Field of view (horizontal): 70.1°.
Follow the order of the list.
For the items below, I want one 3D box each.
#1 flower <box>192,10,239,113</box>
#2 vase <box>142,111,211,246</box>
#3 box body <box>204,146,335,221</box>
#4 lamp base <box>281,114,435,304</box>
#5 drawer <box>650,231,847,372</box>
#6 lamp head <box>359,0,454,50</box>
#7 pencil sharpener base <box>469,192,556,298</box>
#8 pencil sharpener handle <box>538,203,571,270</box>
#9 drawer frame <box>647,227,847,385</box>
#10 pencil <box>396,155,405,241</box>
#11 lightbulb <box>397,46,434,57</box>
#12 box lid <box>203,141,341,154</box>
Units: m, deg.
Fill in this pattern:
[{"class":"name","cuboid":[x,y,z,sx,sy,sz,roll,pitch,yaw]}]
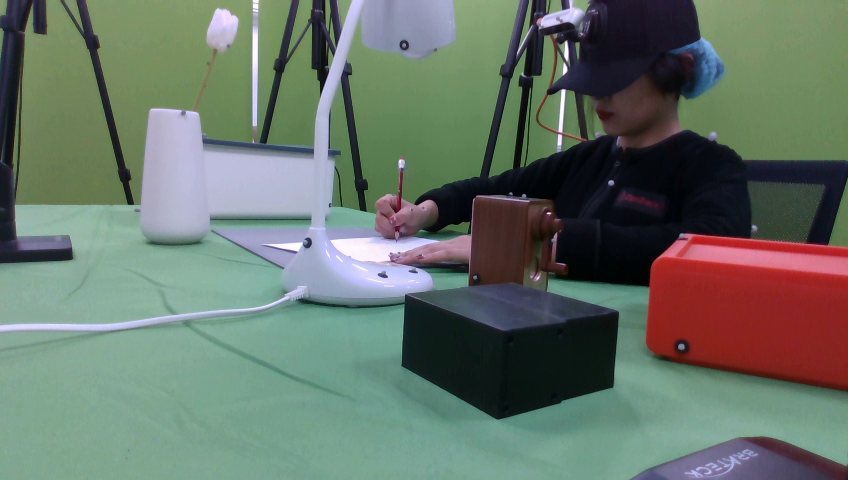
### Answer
[{"class":"flower","cuboid":[-0.354,-0.174,0.915,0.038,0.361,0.044,18,-3,12]},{"class":"vase","cuboid":[-0.378,-0.093,0.920,0.098,0.200,0.098,2,9,0]},{"class":"box body","cuboid":[-0.410,-0.135,1.386,0.366,0.160,0.253,-2,9,-29]},{"class":"lamp base","cuboid":[-0.071,-0.034,0.614,0.160,0.180,0.180,6,10,27]},{"class":"drawer","cuboid":[0.303,0.044,0.499,0.194,0.073,0.212,7,9,27]},{"class":"lamp head","cuboid":[-0.024,-0.282,0.674,0.112,0.123,0.112,-3,38,3]},{"class":"pencil sharpener base","cuboid":[0.097,0.003,0.652,0.076,0.107,0.061,8,9,38]},{"class":"pencil sharpener handle","cuboid":[0.137,-0.003,0.619,0.030,0.067,0.036,8,6,38]},{"class":"drawer frame","cuboid":[0.303,0.043,0.495,0.201,0.082,0.214,6,9,26]},{"class":"pencil","cuboid":[-0.043,-0.078,1.077,0.012,0.193,0.012,1,-35,1]},{"class":"lightbulb","cuboid":[-0.017,-0.264,0.692,0.059,0.108,0.059,-9,29,5]},{"class":"box lid","cuboid":[-0.396,-0.212,1.373,0.373,0.015,0.262,-1,9,-29]}]
